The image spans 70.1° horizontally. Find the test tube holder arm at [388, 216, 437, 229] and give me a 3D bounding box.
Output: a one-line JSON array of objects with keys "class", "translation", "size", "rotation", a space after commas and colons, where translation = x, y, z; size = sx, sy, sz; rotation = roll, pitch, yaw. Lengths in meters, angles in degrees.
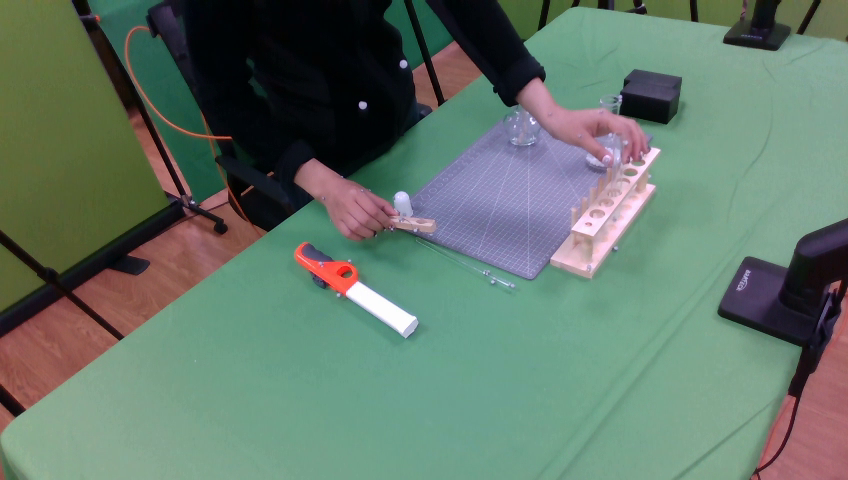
[{"class": "test tube holder arm", "translation": [-0.021, -0.026, 0.950], "size": [0.087, 0.015, 0.010], "rotation": [7, 33, 28]}]

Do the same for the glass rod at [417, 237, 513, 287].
[{"class": "glass rod", "translation": [0.059, 0.032, 0.944], "size": [0.198, 0.008, 0.008], "rotation": [27, 52, 38]}]

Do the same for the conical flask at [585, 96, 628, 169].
[{"class": "conical flask", "translation": [0.324, -0.192, 1.066], "size": [0.075, 0.122, 0.075], "rotation": [-6, 40, 5]}]

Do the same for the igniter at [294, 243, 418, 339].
[{"class": "igniter", "translation": [-0.114, 0.070, 0.919], "size": [0.274, 0.025, 0.057], "rotation": [29, 63, 37]}]

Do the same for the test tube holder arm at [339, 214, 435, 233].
[{"class": "test tube holder arm", "translation": [-0.063, -0.028, 0.967], "size": [0.177, 0.015, 0.013], "rotation": [6, 33, 27]}]

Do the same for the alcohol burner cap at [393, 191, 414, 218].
[{"class": "alcohol burner cap", "translation": [-0.037, -0.061, 1.044], "size": [0.034, 0.048, 0.033], "rotation": [-5, 40, 5]}]

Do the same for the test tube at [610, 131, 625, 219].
[{"class": "test tube", "translation": [0.281, -0.091, 0.879], "size": [0.017, 0.151, 0.017], "rotation": [-7, 39, 6]}]

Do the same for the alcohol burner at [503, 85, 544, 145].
[{"class": "alcohol burner", "translation": [0.191, -0.243, 1.160], "size": [0.078, 0.119, 0.077], "rotation": [-4, 40, 4]}]

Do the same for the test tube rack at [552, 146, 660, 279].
[{"class": "test tube rack", "translation": [0.286, -0.053, 0.943], "size": [0.066, 0.085, 0.243], "rotation": [21, 49, 32]}]
